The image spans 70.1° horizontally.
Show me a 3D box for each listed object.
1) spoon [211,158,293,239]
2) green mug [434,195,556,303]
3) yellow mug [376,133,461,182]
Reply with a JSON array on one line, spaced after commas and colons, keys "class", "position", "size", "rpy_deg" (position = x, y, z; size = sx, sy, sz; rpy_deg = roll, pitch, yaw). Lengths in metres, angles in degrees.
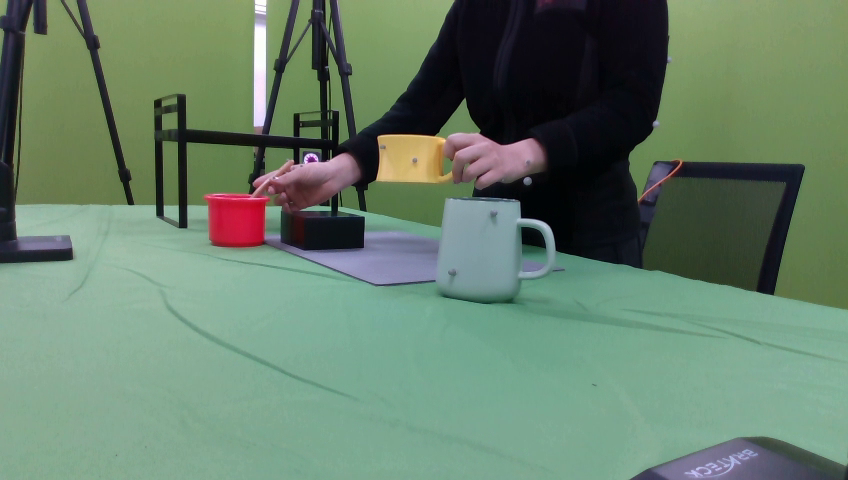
[{"class": "spoon", "position": [-0.270, -0.069, 0.969], "size": [0.041, 0.022, 0.194], "rpy_deg": [6, 52, 41]}, {"class": "green mug", "position": [0.074, 0.009, 0.624], "size": [0.125, 0.105, 0.093], "rpy_deg": [5, 7, 23]}, {"class": "yellow mug", "position": [-0.005, -0.116, 0.858], "size": [0.130, 0.064, 0.100], "rpy_deg": [5, 6, 30]}]
